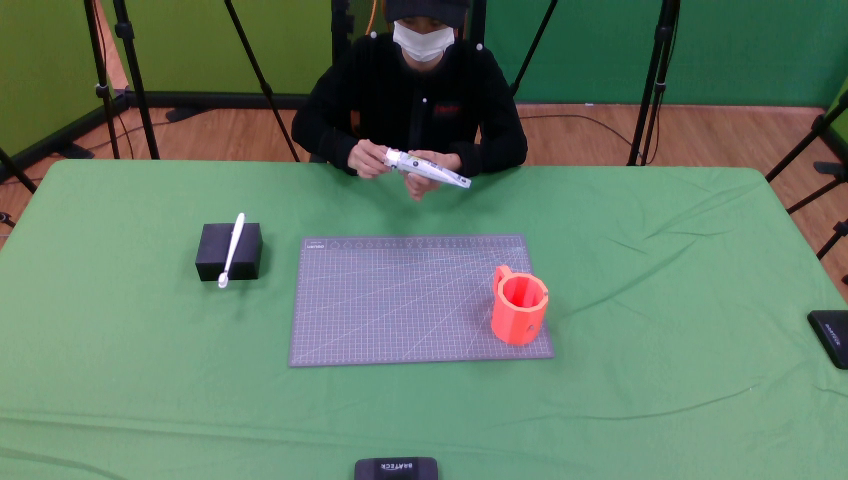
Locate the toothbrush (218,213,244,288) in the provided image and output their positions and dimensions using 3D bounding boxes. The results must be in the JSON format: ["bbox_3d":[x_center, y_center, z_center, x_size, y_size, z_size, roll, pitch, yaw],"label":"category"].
[{"bbox_3d":[-0.347,0.013,1.093,0.014,0.017,0.180,-2,46,1],"label":"toothbrush"}]

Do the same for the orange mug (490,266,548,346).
[{"bbox_3d":[0.155,0.107,1.051,0.083,0.101,0.125,-15,53,-18],"label":"orange mug"}]

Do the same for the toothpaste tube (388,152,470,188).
[{"bbox_3d":[0.007,-0.131,1.141,0.165,0.034,0.055,18,27,2],"label":"toothpaste tube"}]

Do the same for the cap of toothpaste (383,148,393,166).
[{"bbox_3d":[-0.067,-0.157,1.145,0.011,0.037,0.037,17,47,2],"label":"cap of toothpaste"}]
